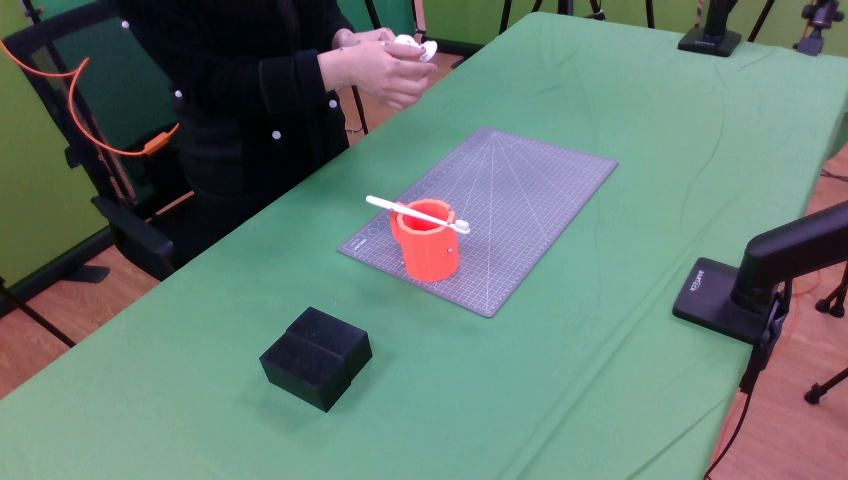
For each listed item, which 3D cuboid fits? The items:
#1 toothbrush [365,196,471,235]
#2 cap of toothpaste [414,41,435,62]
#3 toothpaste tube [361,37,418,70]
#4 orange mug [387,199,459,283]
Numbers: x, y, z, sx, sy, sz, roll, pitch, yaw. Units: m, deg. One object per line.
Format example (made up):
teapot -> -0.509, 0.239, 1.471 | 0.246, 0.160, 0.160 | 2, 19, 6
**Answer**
toothbrush -> -0.013, -0.039, 0.880 | 0.180, 0.017, 0.014 | 18, 50, 27
cap of toothpaste -> 0.001, -0.286, 0.911 | 0.037, 0.011, 0.037 | -22, 56, 37
toothpaste tube -> -0.052, -0.297, 0.983 | 0.055, 0.034, 0.164 | -1, 3, -24
orange mug -> -0.006, -0.007, 0.922 | 0.125, 0.101, 0.084 | 32, 54, 32
